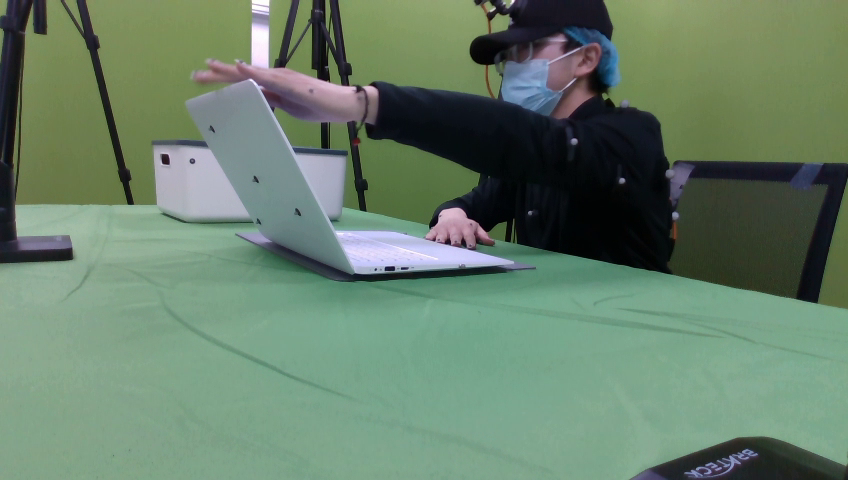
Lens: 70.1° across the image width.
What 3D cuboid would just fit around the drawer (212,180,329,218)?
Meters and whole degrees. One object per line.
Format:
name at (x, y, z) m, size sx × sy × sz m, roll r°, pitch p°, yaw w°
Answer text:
drawer at (-0.348, -0.097, 1.365) m, size 0.213 × 0.073 × 0.193 m, roll -1°, pitch 10°, yaw -32°

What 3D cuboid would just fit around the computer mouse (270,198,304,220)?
computer mouse at (-0.319, -0.073, 1.403) m, size 0.063 × 0.041 × 0.116 m, roll 4°, pitch 13°, yaw -24°

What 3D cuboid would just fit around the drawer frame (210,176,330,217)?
drawer frame at (-0.348, -0.103, 1.366) m, size 0.215 × 0.082 × 0.200 m, roll -6°, pitch 9°, yaw -33°

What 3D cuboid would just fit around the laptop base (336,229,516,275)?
laptop base at (-0.065, 0.014, 0.877) m, size 0.237 × 0.023 × 0.352 m, roll 1°, pitch 7°, yaw -32°

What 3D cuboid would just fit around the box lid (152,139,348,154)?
box lid at (-0.379, -0.205, 1.337) m, size 0.373 × 0.015 × 0.262 m, roll -3°, pitch 10°, yaw -36°

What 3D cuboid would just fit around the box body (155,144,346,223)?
box body at (-0.384, -0.131, 1.346) m, size 0.366 × 0.160 × 0.253 m, roll -3°, pitch 9°, yaw -36°

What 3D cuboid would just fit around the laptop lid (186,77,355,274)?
laptop lid at (-0.211, -0.081, 0.772) m, size 0.013 × 0.242 × 0.355 m, roll -35°, pitch 25°, yaw -23°
